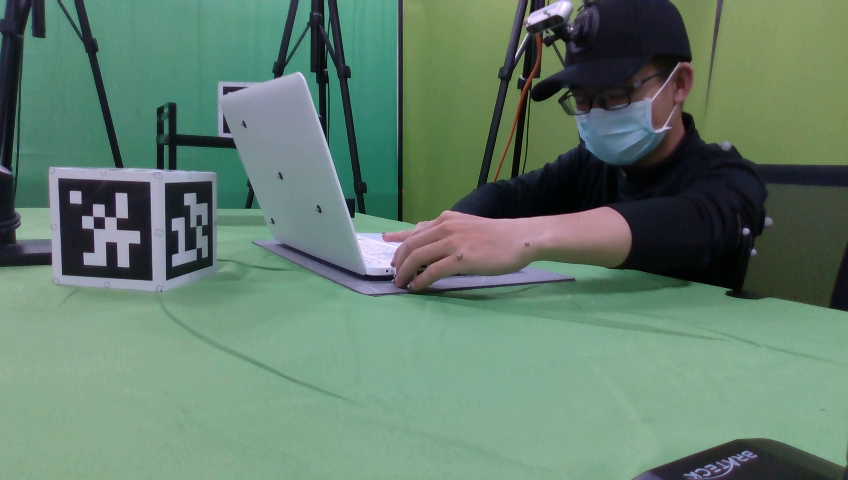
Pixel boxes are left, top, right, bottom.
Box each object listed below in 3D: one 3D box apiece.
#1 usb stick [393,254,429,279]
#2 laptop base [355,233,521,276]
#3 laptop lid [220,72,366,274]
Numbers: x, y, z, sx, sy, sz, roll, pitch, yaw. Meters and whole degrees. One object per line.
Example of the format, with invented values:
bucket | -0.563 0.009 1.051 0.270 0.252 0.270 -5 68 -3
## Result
usb stick | -0.020 0.030 0.696 0.021 0.027 0.059 -3 1 -35
laptop base | -0.056 0.018 0.898 0.237 0.023 0.352 2 6 -32
laptop lid | -0.188 -0.087 0.801 0.013 0.242 0.355 -26 21 -26
